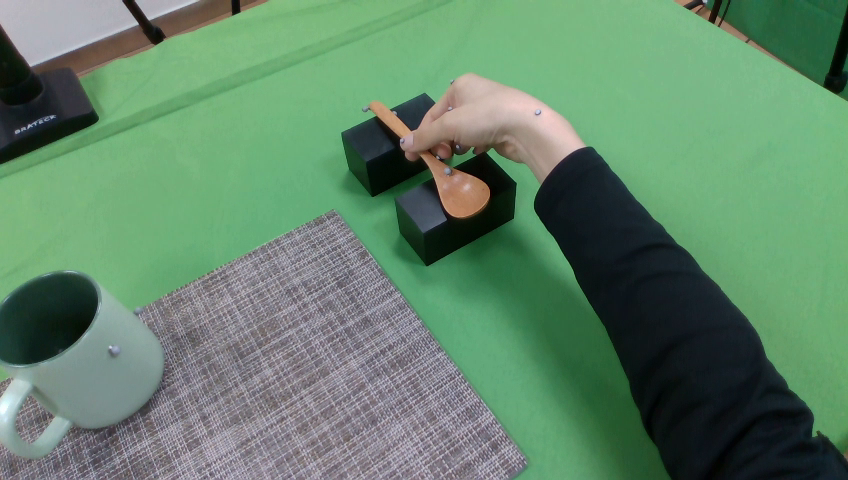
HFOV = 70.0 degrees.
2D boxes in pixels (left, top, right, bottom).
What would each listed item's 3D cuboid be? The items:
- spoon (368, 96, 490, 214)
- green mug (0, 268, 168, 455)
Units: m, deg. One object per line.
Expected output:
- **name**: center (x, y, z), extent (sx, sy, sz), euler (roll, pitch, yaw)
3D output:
- **spoon**: center (-0.003, -0.086, 0.556), extent (0.041, 0.022, 0.191), euler (-39, 58, -1)
- **green mug**: center (-0.260, 0.095, 0.450), extent (0.092, 0.106, 0.124), euler (9, 55, 11)
